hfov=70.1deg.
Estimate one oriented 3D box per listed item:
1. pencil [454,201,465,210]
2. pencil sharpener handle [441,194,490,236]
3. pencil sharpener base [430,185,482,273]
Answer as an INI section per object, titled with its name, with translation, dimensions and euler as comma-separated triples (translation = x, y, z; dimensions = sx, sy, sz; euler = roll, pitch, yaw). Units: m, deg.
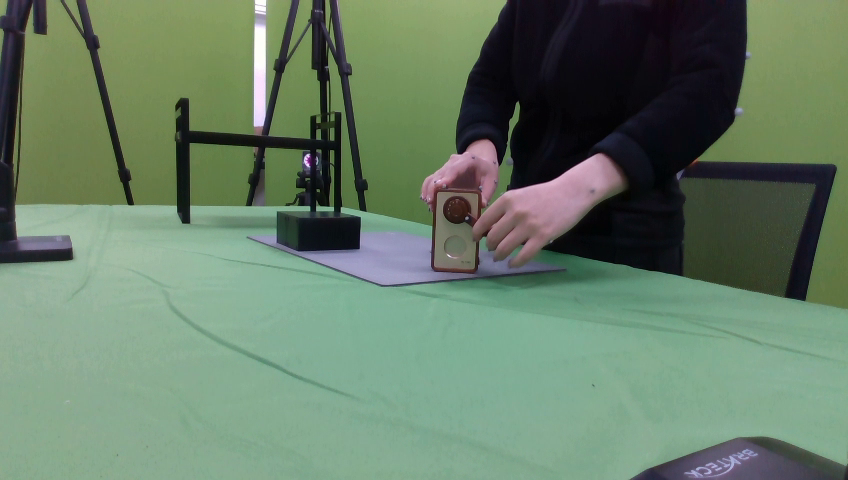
[pencil]
translation = 0.050, -0.049, 0.872
dimensions = 0.012, 0.012, 0.194
euler = 3, 5, 5
[pencil sharpener handle]
translation = 0.052, -0.028, 0.729
dimensions = 0.068, 0.036, 0.030
euler = 34, 9, -1
[pencil sharpener base]
translation = 0.042, -0.015, 0.783
dimensions = 0.061, 0.107, 0.077
euler = 3, 8, 4
